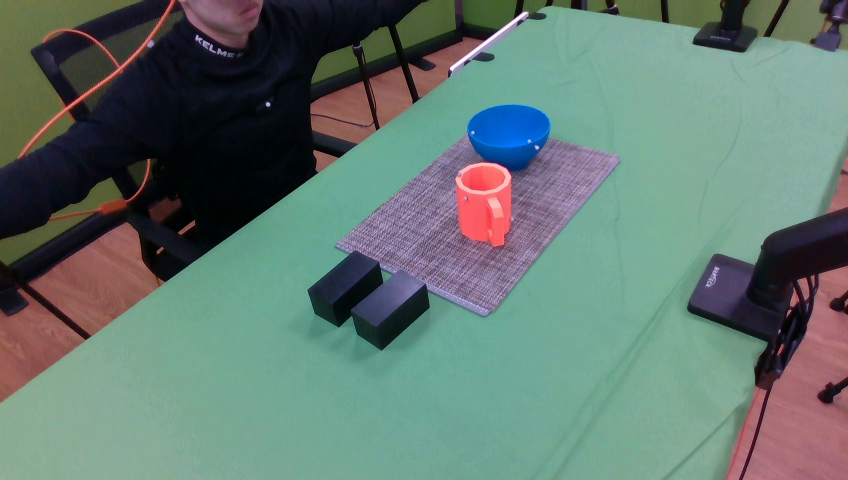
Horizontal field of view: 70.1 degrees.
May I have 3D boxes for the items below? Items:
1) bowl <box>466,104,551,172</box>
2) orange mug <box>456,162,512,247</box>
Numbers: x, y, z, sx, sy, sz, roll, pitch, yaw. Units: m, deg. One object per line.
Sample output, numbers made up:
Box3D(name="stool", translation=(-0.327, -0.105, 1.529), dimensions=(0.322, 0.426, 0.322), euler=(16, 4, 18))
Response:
Box3D(name="bowl", translation=(0.155, -0.177, 1.105), dimensions=(0.151, 0.077, 0.150), euler=(-4, 40, 4))
Box3D(name="orange mug", translation=(0.100, -0.050, 0.949), dimensions=(0.083, 0.101, 0.125), euler=(-13, 37, -6))
